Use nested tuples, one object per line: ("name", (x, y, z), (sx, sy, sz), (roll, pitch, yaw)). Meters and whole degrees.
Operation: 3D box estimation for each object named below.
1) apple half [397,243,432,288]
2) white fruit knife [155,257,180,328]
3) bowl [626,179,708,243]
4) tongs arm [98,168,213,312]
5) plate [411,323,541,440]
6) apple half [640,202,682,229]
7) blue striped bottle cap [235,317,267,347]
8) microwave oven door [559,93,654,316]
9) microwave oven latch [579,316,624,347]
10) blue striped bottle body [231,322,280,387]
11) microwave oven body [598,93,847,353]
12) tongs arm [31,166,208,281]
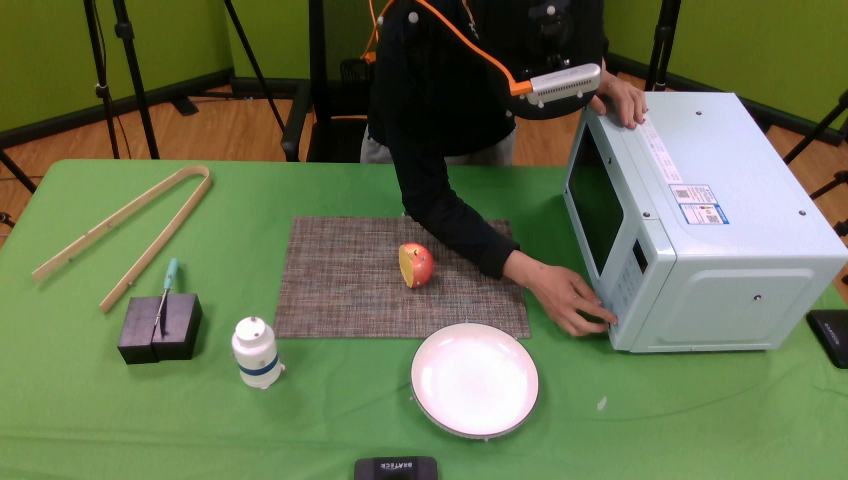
("apple half", (-0.013, 0.047, 1.115), (0.053, 0.075, 0.080), (-10, 43, -21))
("white fruit knife", (-0.440, 0.085, 1.037), (0.016, 0.027, 0.206), (11, 26, -19))
("bowl", (0.455, -0.047, 1.168), (0.151, 0.077, 0.150), (7, 36, -5))
("tongs arm", (-0.503, -0.013, 1.167), (0.028, 0.028, 0.385), (10, 45, 11))
("plate", (0.082, 0.228, 0.976), (0.208, 0.039, 0.206), (2, 45, -2))
("apple half", (0.455, -0.054, 1.161), (0.081, 0.033, 0.081), (-4, 34, 3))
("blue striped bottle cap", (-0.259, 0.137, 0.907), (0.044, 0.021, 0.044), (3, 44, -3))
("microwave oven door", (0.327, -0.074, 1.123), (0.039, 0.245, 0.353), (0, 46, -5))
("microwave oven latch", (0.308, 0.152, 1.043), (0.079, 0.029, 0.030), (33, 51, 25))
("blue striped bottle body", (-0.262, 0.171, 0.944), (0.063, 0.121, 0.062), (2, 46, -2))
("microwave oven body", (0.476, -0.042, 1.109), (0.326, 0.261, 0.438), (-1, 45, -4))
("tongs arm", (-0.578, -0.040, 1.185), (0.050, 0.026, 0.384), (23, 47, 18))
